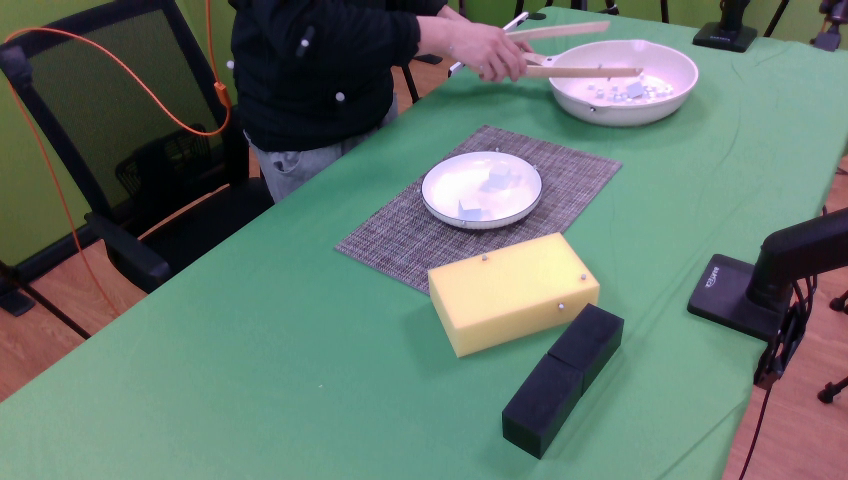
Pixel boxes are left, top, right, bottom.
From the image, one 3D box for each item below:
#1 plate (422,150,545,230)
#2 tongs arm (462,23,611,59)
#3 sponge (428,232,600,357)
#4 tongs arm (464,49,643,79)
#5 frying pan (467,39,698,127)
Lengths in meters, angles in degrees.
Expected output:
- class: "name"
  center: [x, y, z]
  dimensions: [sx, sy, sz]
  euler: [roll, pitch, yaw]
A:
- class: "plate"
  center: [0.100, -0.082, 1.031]
  dimensions: [0.207, 0.039, 0.206]
  euler: [-4, 40, 4]
- class: "tongs arm"
  center: [0.223, -0.383, 1.141]
  dimensions: [0.390, 0.027, 0.028]
  euler: [-19, 73, -32]
- class: "sponge"
  center: [0.120, 0.071, 0.834]
  dimensions: [0.207, 0.061, 0.117]
  euler: [-16, 43, -12]
- class: "tongs arm"
  center: [0.250, -0.323, 1.114]
  dimensions: [0.387, 0.026, 0.050]
  euler: [-9, 65, -27]
- class: "frying pan"
  center: [0.312, -0.359, 1.277]
  dimensions: [0.485, 0.103, 0.307]
  euler: [23, 48, 19]
